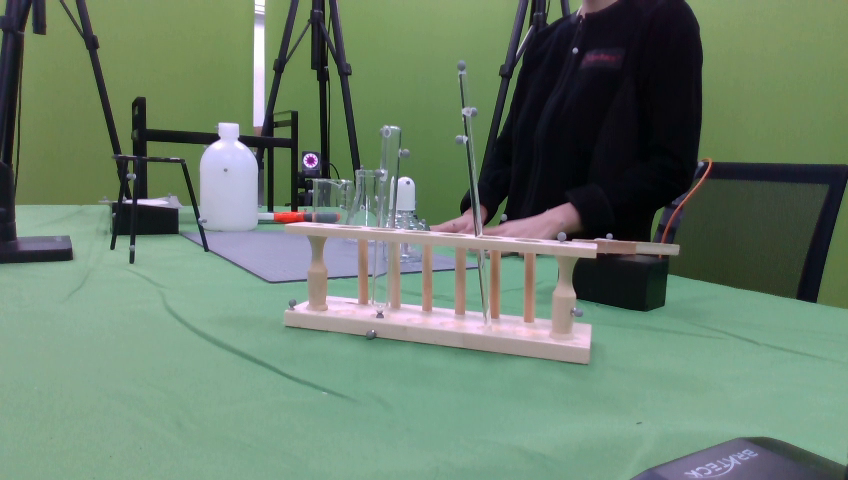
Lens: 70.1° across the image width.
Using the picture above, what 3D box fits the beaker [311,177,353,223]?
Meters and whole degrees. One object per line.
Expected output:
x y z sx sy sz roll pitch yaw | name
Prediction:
-0.167 -0.064 1.106 0.074 0.100 0.083 -2 9 -27 | beaker

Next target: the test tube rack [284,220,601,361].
0.013 0.032 0.482 0.242 0.085 0.067 4 7 16 | test tube rack

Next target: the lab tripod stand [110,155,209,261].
-0.361 -0.046 0.806 0.148 0.131 0.148 2 5 0 | lab tripod stand

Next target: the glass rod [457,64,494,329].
0.039 -0.029 0.449 0.008 0.199 0.008 -7 9 1 | glass rod

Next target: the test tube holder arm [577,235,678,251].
0.227 0.004 0.662 0.179 0.015 0.013 1 14 -39 | test tube holder arm

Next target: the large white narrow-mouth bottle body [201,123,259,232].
-0.358 -0.116 1.116 0.102 0.194 0.102 2 8 0 | large white narrow-mouth bottle body

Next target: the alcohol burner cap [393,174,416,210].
-0.025 -0.067 0.833 0.034 0.048 0.034 4 12 -1 | alcohol burner cap

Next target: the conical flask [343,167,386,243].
-0.096 -0.059 1.001 0.075 0.122 0.075 2 8 0 | conical flask

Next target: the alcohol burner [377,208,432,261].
-0.027 -0.031 0.838 0.078 0.119 0.078 0 6 0 | alcohol burner

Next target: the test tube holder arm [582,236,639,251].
0.194 0.004 0.629 0.088 0.015 0.010 2 14 -38 | test tube holder arm

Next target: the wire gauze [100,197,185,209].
-0.469 -0.062 1.008 0.126 0.011 0.121 -2 8 -25 | wire gauze

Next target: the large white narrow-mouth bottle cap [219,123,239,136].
-0.356 -0.201 1.104 0.038 0.024 0.037 2 8 0 | large white narrow-mouth bottle cap

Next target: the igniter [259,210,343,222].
-0.303 -0.049 1.258 0.278 0.025 0.057 -2 -2 -28 | igniter

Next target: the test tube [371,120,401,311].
-0.030 -0.018 0.474 0.017 0.150 0.017 4 5 0 | test tube
